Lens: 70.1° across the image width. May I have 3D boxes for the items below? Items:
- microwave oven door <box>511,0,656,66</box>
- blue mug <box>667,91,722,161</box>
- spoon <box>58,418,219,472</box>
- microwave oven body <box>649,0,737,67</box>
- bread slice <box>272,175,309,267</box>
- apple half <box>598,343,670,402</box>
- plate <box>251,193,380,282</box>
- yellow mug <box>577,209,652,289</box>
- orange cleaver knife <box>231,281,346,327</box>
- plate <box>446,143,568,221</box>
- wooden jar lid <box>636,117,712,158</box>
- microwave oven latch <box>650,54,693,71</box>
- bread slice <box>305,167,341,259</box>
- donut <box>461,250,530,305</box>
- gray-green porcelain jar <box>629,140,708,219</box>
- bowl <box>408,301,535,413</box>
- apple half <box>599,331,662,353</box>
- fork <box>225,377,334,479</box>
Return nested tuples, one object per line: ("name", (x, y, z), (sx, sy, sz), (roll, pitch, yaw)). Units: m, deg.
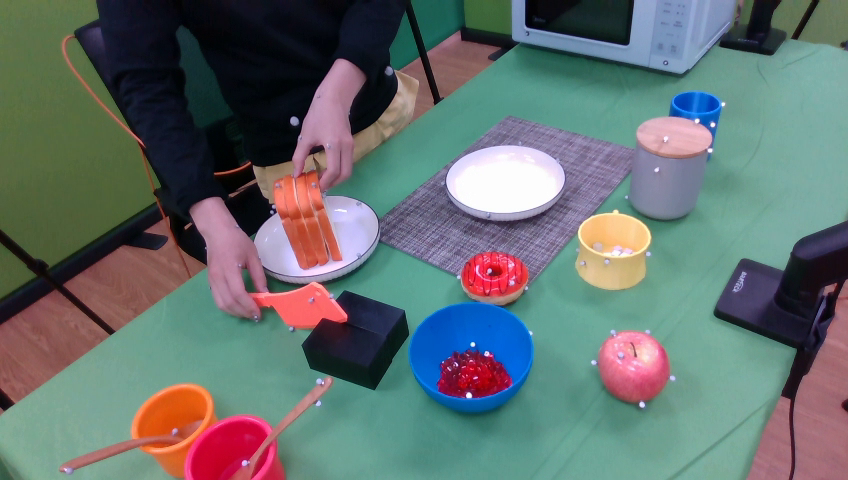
("microwave oven door", (0.351, -0.539, 1.348), (0.353, 0.245, 0.039), (24, 50, 31))
("blue mug", (0.473, -0.207, 1.079), (0.082, 0.106, 0.116), (4, 41, 13))
("spoon", (-0.304, 0.221, 0.661), (0.041, 0.195, 0.021), (19, 92, 27))
("microwave oven body", (0.475, -0.602, 1.411), (0.438, 0.261, 0.327), (23, 50, 32))
("bread slice", (-0.209, -0.036, 0.947), (0.019, 0.132, 0.104), (-16, 40, -3))
("apple half", (0.247, 0.161, 0.710), (0.081, 0.075, 0.053), (2, 47, 5))
("plate", (-0.173, -0.001, 0.984), (0.209, 0.038, 0.208), (-4, 41, 4))
("yellow mug", (0.279, 0.004, 0.893), (0.099, 0.064, 0.130), (5, 41, 15))
("orange cleaver knife", (-0.192, 0.093, 0.844), (0.210, 0.077, 0.012), (-7, 31, 38))
("plate", (0.142, -0.097, 1.045), (0.207, 0.039, 0.206), (-4, 40, 4))
("wooden jar lid", (0.377, -0.151, 0.917), (0.108, 0.021, 0.108), (-2, 41, 2))
("microwave oven latch", (0.531, -0.386, 1.301), (0.078, 0.029, 0.030), (26, 51, 33))
("bread slice", (-0.160, -0.046, 0.953), (0.018, 0.135, 0.106), (-16, 45, -5))
("donut", (0.103, 0.053, 0.872), (0.099, 0.048, 0.098), (-5, 40, 4))
("gray-green porcelain jar", (0.383, -0.105, 0.958), (0.106, 0.127, 0.105), (-4, 41, 4))
("bowl", (0.060, 0.156, 0.739), (0.151, 0.077, 0.150), (-4, 40, 4))
("apple half", (0.249, 0.134, 0.738), (0.081, 0.081, 0.032), (-2, 46, 7))
("fork", (-0.163, 0.216, 0.647), (0.207, 0.019, 0.028), (-49, 42, 16))
